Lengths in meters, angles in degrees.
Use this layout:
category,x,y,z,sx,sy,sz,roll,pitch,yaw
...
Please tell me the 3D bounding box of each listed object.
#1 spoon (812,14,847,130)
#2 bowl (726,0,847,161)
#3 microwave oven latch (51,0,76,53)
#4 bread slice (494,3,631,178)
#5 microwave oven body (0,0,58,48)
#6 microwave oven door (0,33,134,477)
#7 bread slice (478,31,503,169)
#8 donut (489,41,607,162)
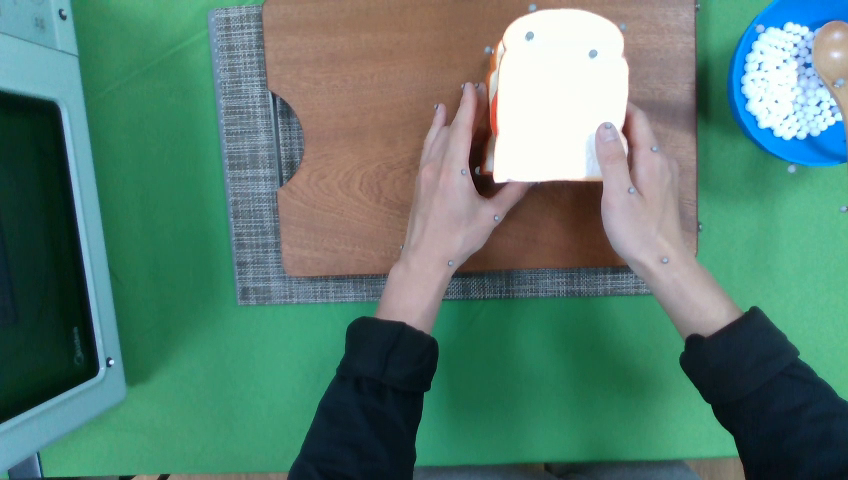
category,x,y,z,sx,sy,sz,roll,pitch,yaw
spoon,0.355,-0.098,0.506,0.041,0.022,0.192,1,76,-3
bowl,0.335,-0.144,0.534,0.151,0.077,0.151,1,97,5
microwave oven latch,-0.362,-0.223,0.586,0.030,0.029,0.079,-5,97,5
bread slice,0.105,-0.115,0.476,0.107,0.018,0.134,-4,95,1
microwave oven body,-0.501,-0.025,0.523,0.326,0.260,0.442,-5,96,5
microwave oven door,-0.352,0.004,0.509,0.039,0.243,0.356,-5,96,6
bread slice,0.101,-0.126,0.534,0.105,0.019,0.132,-1,100,-1
donut,0.103,-0.115,0.506,0.099,0.048,0.099,1,97,5
